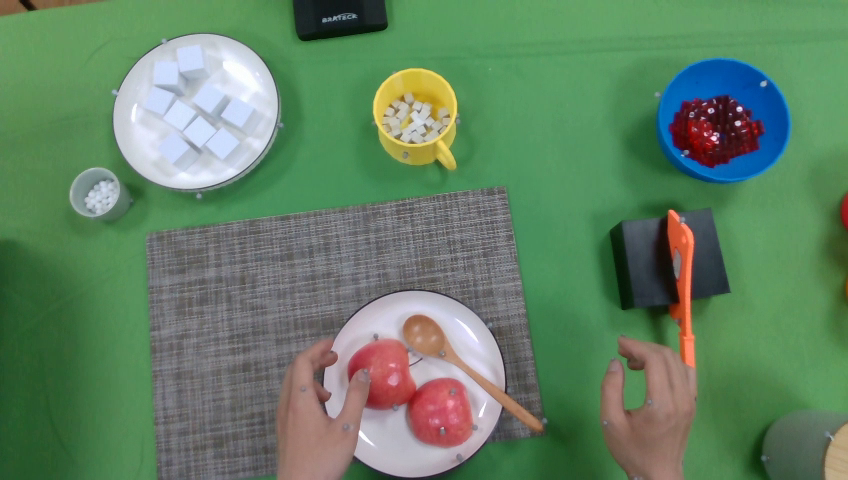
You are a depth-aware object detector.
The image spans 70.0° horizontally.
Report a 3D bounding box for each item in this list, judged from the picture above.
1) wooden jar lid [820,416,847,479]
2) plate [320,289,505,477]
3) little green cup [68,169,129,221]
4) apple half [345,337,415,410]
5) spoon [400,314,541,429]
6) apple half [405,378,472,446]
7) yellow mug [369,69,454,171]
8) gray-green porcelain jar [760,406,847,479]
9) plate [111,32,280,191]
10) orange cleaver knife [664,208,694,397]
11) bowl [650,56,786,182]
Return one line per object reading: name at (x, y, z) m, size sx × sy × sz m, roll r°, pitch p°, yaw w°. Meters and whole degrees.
wooden jar lid at (0.425, 0.216, 0.571) m, size 0.108 × 0.021 × 0.108 m, roll 0°, pitch 81°, yaw 1°
plate at (-0.013, 0.160, 0.694) m, size 0.209 × 0.038 × 0.208 m, roll 0°, pitch 80°, yaw 1°
little green cup at (-0.397, -0.053, 0.745) m, size 0.061 × 0.039 × 0.061 m, roll 0°, pitch 81°, yaw 1°
apple half at (-0.051, 0.151, 0.681) m, size 0.074 × 0.053 × 0.080 m, roll -11°, pitch 79°, yaw 2°
spoon at (0.051, 0.149, 0.682) m, size 0.192 × 0.022 × 0.041 m, roll 36°, pitch 71°, yaw 20°
apple half at (0.016, 0.195, 0.681) m, size 0.081 × 0.033 × 0.081 m, roll 0°, pitch 76°, yaw 2°
yellow mug at (-0.005, -0.138, 0.741) m, size 0.100 × 0.064 × 0.130 m, roll -36°, pitch 82°, yaw -6°
gray-green porcelain jar at (0.427, 0.229, 0.632) m, size 0.106 × 0.127 × 0.105 m, roll 0°, pitch 78°, yaw 1°
plate at (-0.283, -0.159, 0.764) m, size 0.208 × 0.039 × 0.206 m, roll 0°, pitch 79°, yaw 1°
orange cleaver knife at (0.287, 0.071, 0.687) m, size 0.012 × 0.077 × 0.212 m, roll -7°, pitch 102°, yaw 4°
bowl at (0.338, -0.133, 0.727) m, size 0.151 × 0.077 × 0.150 m, roll 0°, pitch 79°, yaw 1°
